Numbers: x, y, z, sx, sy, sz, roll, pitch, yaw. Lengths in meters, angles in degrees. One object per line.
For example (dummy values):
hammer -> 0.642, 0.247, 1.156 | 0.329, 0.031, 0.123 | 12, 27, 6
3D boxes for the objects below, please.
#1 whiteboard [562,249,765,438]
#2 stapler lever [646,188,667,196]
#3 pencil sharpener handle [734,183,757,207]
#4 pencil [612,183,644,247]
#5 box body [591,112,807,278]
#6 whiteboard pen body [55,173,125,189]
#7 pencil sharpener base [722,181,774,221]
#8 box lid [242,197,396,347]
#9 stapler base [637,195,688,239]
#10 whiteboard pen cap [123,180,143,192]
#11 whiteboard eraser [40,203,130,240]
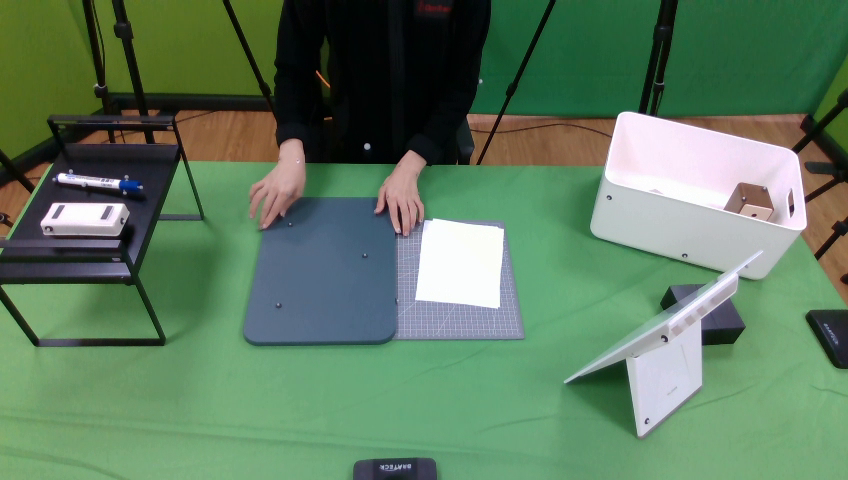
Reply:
whiteboard -> 0.386, 0.175, 0.905 | 0.217, 0.306, 0.143 | -26, 72, -26
stapler lever -> 0.507, -0.075, 1.263 | 0.027, 0.040, 0.117 | -14, 46, -19
pencil sharpener handle -> 0.663, -0.100, 1.259 | 0.036, 0.068, 0.030 | 11, 46, 6
pencil -> 0.430, -0.058, 1.285 | 0.012, 0.012, 0.192 | -2, 47, -6
box body -> 0.540, -0.092, 1.230 | 0.363, 0.161, 0.253 | 16, 47, 11
whiteboard pen body -> -0.539, -0.095, 0.998 | 0.141, 0.017, 0.017 | 6, 46, 6
pencil sharpener base -> 0.651, -0.056, 1.232 | 0.061, 0.107, 0.076 | 11, 46, 6
box lid -> -0.186, 0.046, 1.147 | 0.263, 0.015, 0.369 | 0, 46, -3
stapler base -> 0.507, -0.055, 1.280 | 0.041, 0.024, 0.129 | -14, 47, -19
whiteboard pen cap -> -0.479, -0.089, 0.993 | 0.033, 0.018, 0.018 | 7, 46, 14
whiteboard eraser -> -0.513, -0.028, 0.922 | 0.113, 0.042, 0.055 | 1, 48, -3
